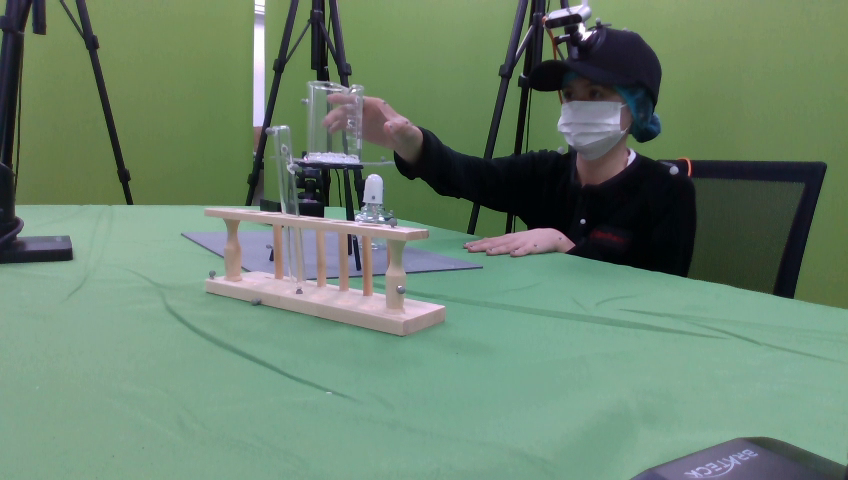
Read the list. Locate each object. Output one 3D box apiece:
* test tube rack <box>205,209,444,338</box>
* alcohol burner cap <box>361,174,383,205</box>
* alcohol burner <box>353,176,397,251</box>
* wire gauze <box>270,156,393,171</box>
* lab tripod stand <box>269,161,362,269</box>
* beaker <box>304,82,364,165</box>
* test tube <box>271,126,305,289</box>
[{"bbox_3d":[-0.100,0.021,0.565,0.241,0.085,0.067,7,8,32],"label":"test tube rack"},{"bbox_3d":[-0.080,-0.078,0.944,0.034,0.048,0.034,4,8,0],"label":"alcohol burner cap"},{"bbox_3d":[-0.082,-0.043,0.950,0.078,0.119,0.078,1,8,0],"label":"alcohol burner"},{"bbox_3d":[-0.122,-0.100,0.786,0.122,0.011,0.124,-5,14,-38],"label":"wire gauze"},{"bbox_3d":[-0.125,-0.036,0.794,0.148,0.131,0.148,5,7,0],"label":"lab tripod stand"},{"bbox_3d":[-0.115,-0.148,0.779,0.074,0.100,0.083,-2,10,-30],"label":"beaker"},{"bbox_3d":[-0.124,-0.028,0.554,0.017,0.150,0.017,-5,7,1],"label":"test tube"}]
